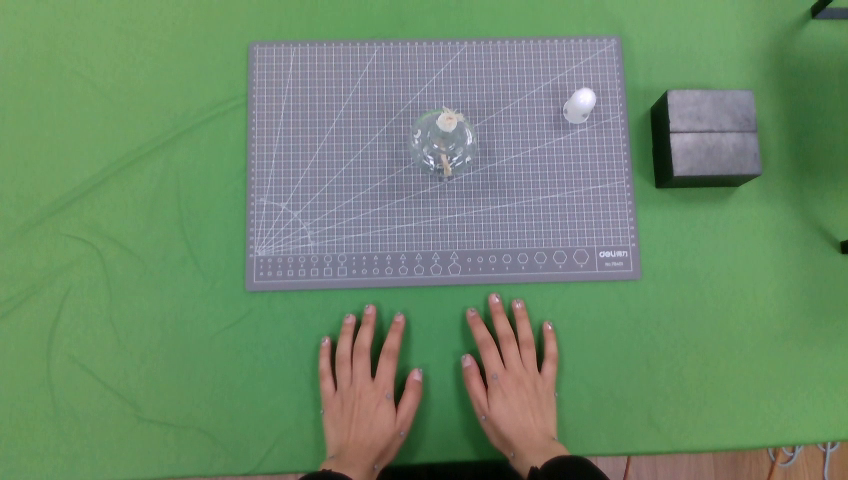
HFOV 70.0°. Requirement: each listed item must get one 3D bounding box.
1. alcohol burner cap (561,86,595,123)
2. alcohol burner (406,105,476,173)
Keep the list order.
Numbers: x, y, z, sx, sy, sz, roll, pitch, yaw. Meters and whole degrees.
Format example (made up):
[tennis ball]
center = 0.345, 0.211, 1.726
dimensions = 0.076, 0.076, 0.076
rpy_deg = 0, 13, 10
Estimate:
[alcohol burner cap]
center = 0.181, -0.160, 0.706
dimensions = 0.034, 0.048, 0.033
rpy_deg = 0, 79, -2
[alcohol burner]
center = 0.020, -0.115, 0.657
dimensions = 0.078, 0.119, 0.077
rpy_deg = 1, 80, -4
